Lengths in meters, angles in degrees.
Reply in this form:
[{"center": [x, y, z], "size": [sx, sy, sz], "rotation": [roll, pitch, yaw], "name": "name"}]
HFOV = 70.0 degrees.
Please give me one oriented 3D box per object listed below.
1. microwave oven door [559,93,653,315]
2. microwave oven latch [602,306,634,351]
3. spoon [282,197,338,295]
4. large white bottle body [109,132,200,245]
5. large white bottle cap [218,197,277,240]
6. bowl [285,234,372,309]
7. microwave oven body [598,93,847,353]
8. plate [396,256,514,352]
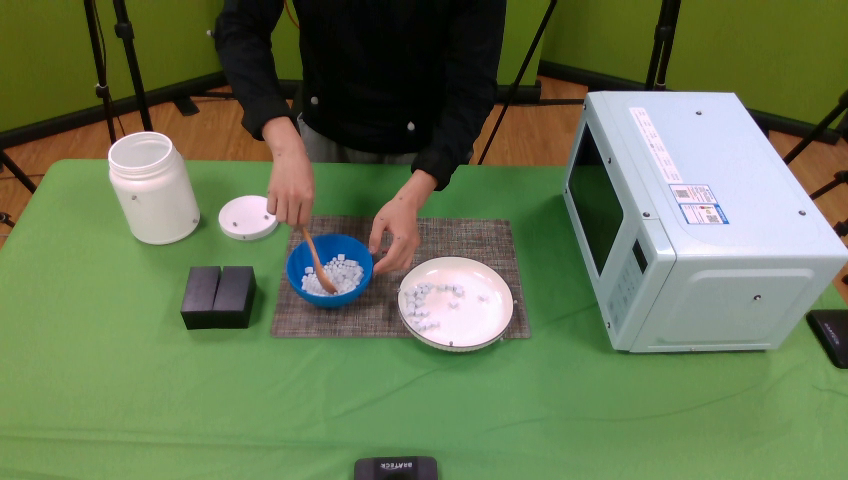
[{"center": [0.327, -0.074, 1.123], "size": [0.039, 0.245, 0.353], "rotation": [-1, 46, -5], "name": "microwave oven door"}, {"center": [0.332, 0.153, 1.044], "size": [0.030, 0.029, 0.078], "rotation": [0, 45, -4], "name": "microwave oven latch"}, {"center": [-0.200, 0.011, 1.055], "size": [0.021, 0.041, 0.193], "rotation": [-24, 85, -22], "name": "spoon"}, {"center": [-0.506, -0.097, 1.141], "size": [0.131, 0.185, 0.130], "rotation": [2, 46, -2], "name": "large white bottle body"}, {"center": [-0.355, -0.045, 1.220], "size": [0.115, 0.018, 0.114], "rotation": [1, 45, -1], "name": "large white bottle cap"}, {"center": [-0.168, 0.069, 1.077], "size": [0.151, 0.077, 0.150], "rotation": [3, 45, -3], "name": "bowl"}, {"center": [0.475, -0.041, 1.109], "size": [0.326, 0.261, 0.438], "rotation": [-1, 45, -4], "name": "microwave oven body"}, {"center": [0.053, 0.116, 1.077], "size": [0.209, 0.038, 0.208], "rotation": [2, 46, -2], "name": "plate"}]
